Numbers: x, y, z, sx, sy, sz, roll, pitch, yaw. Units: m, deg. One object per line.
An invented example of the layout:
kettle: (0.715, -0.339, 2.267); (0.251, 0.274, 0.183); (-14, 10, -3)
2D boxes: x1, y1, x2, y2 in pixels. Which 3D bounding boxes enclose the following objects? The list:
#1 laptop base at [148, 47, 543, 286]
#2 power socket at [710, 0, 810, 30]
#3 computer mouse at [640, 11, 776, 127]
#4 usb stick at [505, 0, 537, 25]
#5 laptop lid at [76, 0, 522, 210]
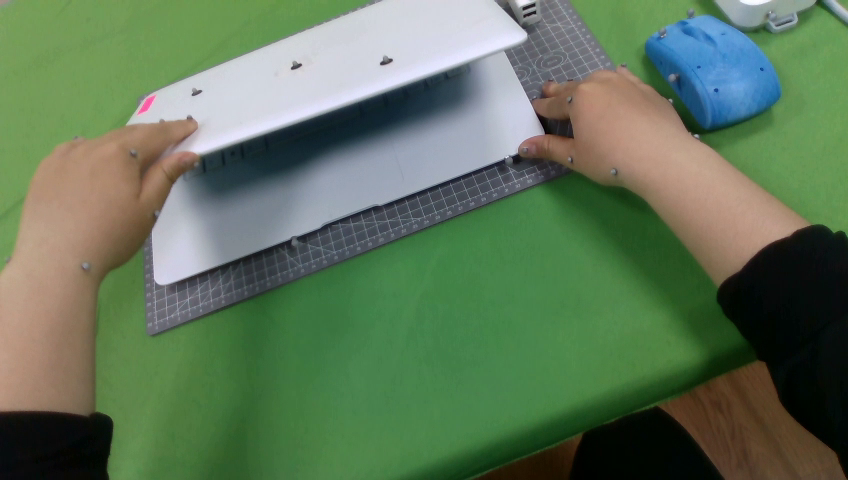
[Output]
laptop base: (-0.094, -0.111, 0.566); (0.354, 0.023, 0.233); (-21, 61, 3)
power socket: (0.269, -0.277, 0.553); (0.072, 0.033, 0.224); (-19, 58, 5)
computer mouse: (0.225, -0.144, 0.486); (0.063, 0.041, 0.116); (-22, 53, 5)
usb stick: (0.088, -0.236, 0.580); (0.021, 0.027, 0.058); (-20, 56, 7)
laptop lid: (-0.111, -0.146, 0.523); (0.356, 0.013, 0.239); (-20, 35, 4)
